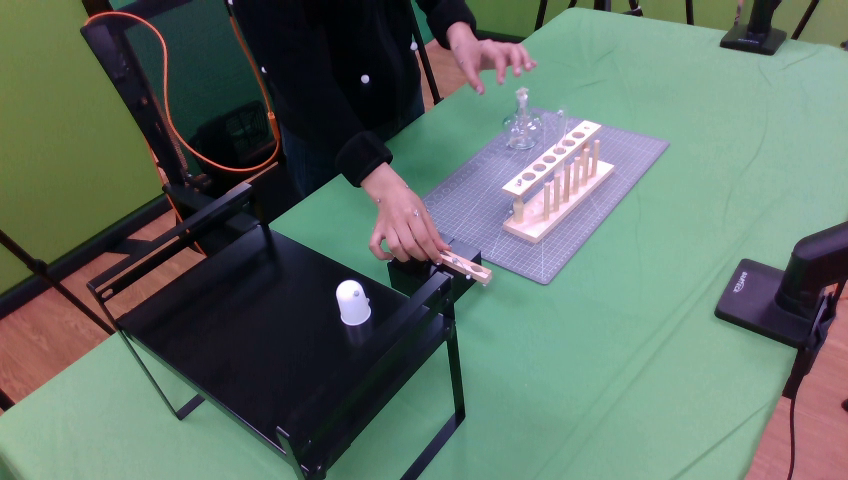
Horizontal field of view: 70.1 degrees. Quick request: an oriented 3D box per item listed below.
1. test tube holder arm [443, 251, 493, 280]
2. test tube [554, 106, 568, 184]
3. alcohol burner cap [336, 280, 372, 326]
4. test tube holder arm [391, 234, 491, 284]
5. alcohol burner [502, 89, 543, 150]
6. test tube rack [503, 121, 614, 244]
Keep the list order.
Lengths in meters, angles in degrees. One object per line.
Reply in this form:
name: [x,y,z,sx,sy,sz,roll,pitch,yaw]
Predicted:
test tube holder arm: [0.059,0.036,0.852,0.087,0.015,0.010,23,45,32]
test tube: [0.224,-0.151,0.987,0.017,0.151,0.017,-4,43,4]
alcohol burner cap: [-0.073,0.061,0.619,0.034,0.048,0.033,-4,41,4]
test tube holder arm: [0.020,0.025,0.872,0.177,0.015,0.013,22,44,31]
alcohol burner: [0.186,-0.233,1.147,0.078,0.119,0.077,-5,42,5]
test tube rack: [0.230,-0.101,1.006,0.066,0.085,0.243,26,50,34]
